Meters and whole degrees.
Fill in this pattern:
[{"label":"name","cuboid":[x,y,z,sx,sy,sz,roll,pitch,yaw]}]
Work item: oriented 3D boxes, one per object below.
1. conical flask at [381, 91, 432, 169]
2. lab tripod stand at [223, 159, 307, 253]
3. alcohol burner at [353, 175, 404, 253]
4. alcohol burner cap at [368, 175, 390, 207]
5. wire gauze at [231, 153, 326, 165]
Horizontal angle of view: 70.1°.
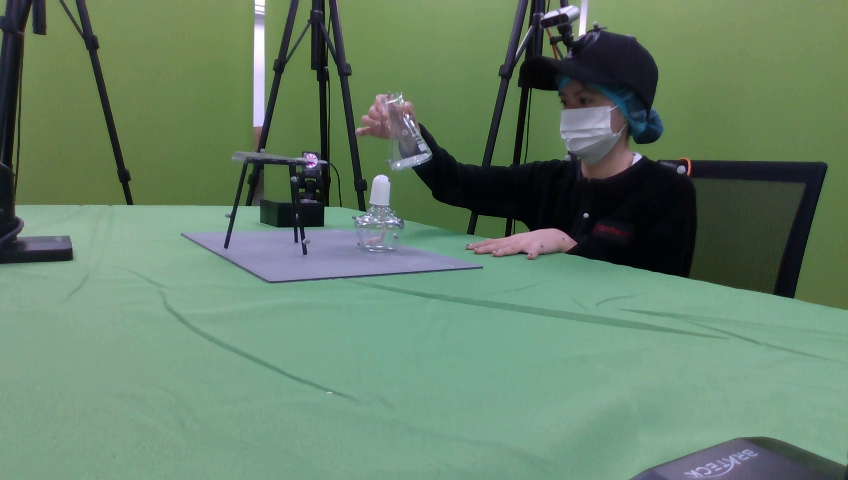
[{"label":"conical flask","cuboid":[-0.037,-0.184,1.006,0.075,0.122,0.075,-16,9,3]},{"label":"lab tripod stand","cuboid":[-0.220,-0.053,0.896,0.148,0.131,0.148,1,6,0]},{"label":"alcohol burner","cuboid":[-0.069,-0.040,0.926,0.078,0.119,0.078,1,9,0]},{"label":"alcohol burner cap","cuboid":[-0.067,-0.075,0.923,0.034,0.048,0.034,8,11,-1]},{"label":"wire gauze","cuboid":[-0.215,-0.118,0.881,0.125,0.011,0.121,1,7,-19]}]
